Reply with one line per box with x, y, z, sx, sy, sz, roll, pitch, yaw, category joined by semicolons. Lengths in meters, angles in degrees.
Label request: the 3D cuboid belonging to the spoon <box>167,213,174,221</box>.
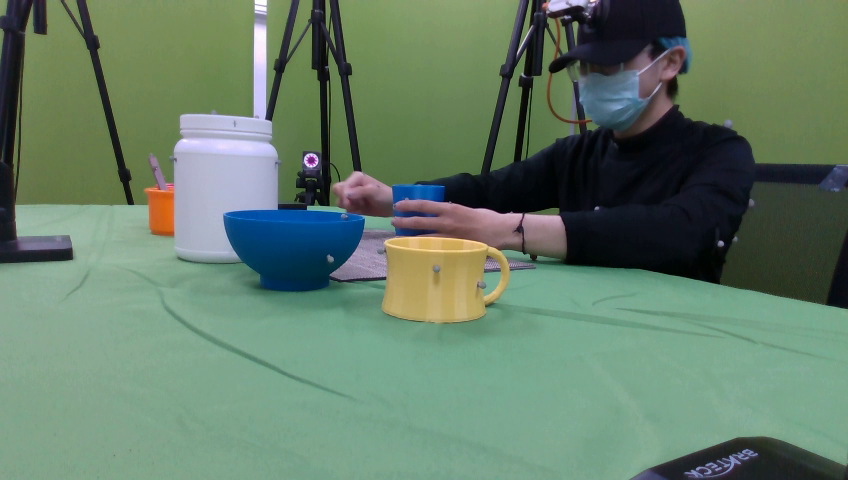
-0.447;-0.104;1.192;0.041;0.022;0.193;7;52;14;spoon

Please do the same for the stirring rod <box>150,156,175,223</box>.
-0.446;-0.083;1.048;0.014;0.006;0.175;0;49;-47;stirring rod

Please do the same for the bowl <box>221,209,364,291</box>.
-0.142;0.011;0.660;0.151;0.077;0.151;2;7;0;bowl

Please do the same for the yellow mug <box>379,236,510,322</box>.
0.024;0.034;0.575;0.131;0.064;0.099;1;7;-22;yellow mug

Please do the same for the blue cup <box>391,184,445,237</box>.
-0.010;-0.037;0.954;0.093;0.100;0.092;2;7;0;blue cup

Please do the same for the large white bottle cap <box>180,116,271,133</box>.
-0.262;-0.152;0.803;0.115;0.018;0.115;2;7;0;large white bottle cap

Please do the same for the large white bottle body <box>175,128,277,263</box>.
-0.265;-0.068;0.814;0.131;0.184;0.130;2;7;0;large white bottle body
